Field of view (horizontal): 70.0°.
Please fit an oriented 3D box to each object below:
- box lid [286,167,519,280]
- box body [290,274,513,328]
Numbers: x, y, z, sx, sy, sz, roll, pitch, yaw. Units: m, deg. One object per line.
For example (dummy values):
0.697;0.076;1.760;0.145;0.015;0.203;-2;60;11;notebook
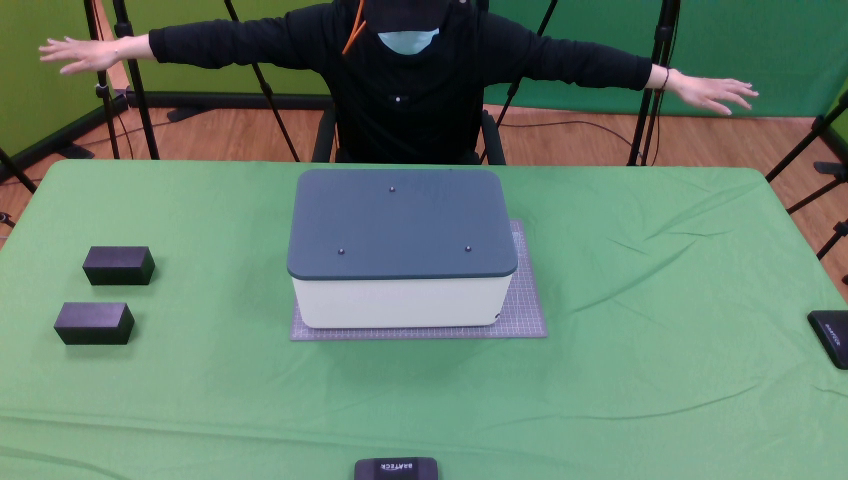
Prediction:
-0.035;-0.036;1.021;0.372;0.015;0.261;-1;46;-4;box lid
-0.040;0.015;1.075;0.364;0.161;0.252;-1;47;-4;box body
